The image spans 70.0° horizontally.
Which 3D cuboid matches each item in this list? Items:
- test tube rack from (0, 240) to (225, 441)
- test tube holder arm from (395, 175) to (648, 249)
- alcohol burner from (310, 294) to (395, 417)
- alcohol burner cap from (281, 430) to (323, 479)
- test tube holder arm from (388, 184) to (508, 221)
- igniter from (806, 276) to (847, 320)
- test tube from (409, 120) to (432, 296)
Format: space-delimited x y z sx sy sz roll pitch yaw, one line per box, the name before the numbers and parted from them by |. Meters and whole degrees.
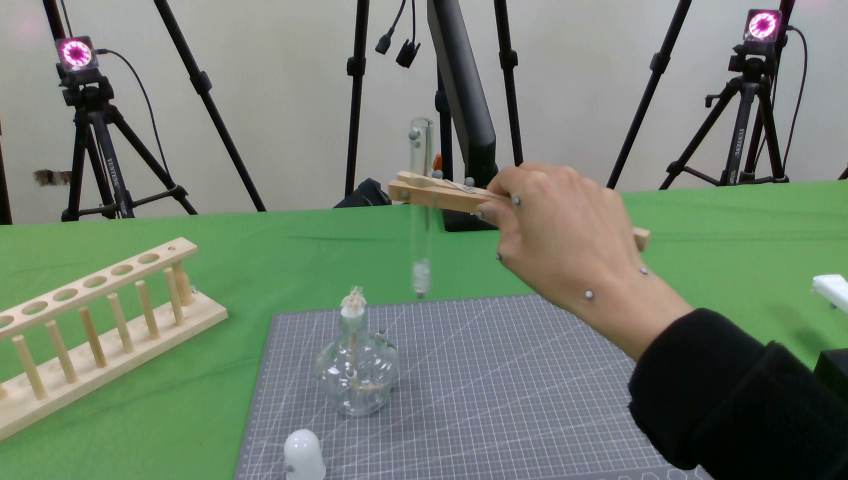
test tube rack | -0.333 0.091 0.615 0.066 0.086 0.242 22 37 35
test tube holder arm | 0.060 -0.021 0.413 0.177 0.015 0.013 13 43 21
alcohol burner | -0.065 0.101 0.550 0.078 0.120 0.077 -1 27 1
alcohol burner cap | -0.101 0.176 0.490 0.034 0.048 0.033 -1 29 1
test tube holder arm | 0.017 -0.026 0.424 0.087 0.015 0.010 9 41 16
igniter | 0.430 0.104 0.516 0.057 0.025 0.274 -5 26 -4
test tube | -0.003 -0.017 0.446 0.017 0.151 0.017 1 37 0
